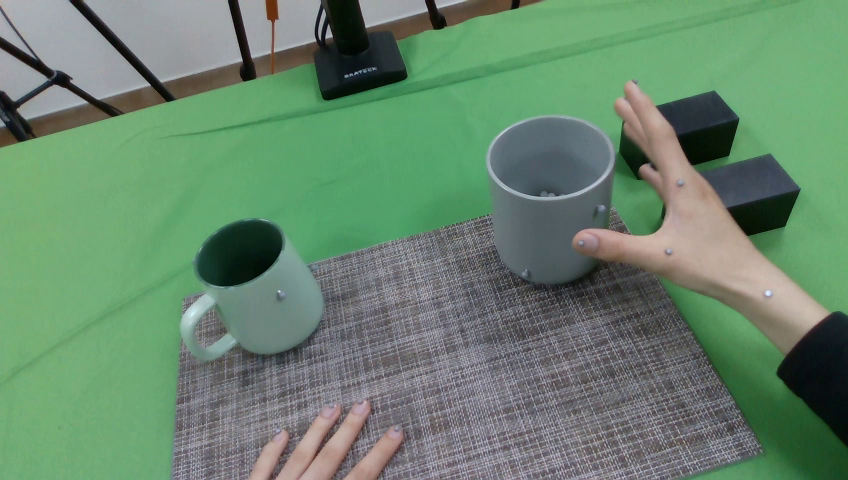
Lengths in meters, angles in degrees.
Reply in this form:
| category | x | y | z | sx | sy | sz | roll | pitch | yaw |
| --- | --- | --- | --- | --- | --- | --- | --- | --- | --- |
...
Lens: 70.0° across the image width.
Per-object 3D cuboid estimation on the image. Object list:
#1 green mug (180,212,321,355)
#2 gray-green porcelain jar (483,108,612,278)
| category | x | y | z | sx | sy | sz | roll | pitch | yaw |
| --- | --- | --- | --- | --- | --- | --- | --- | --- | --- |
| green mug | -0.159 | 0.049 | 0.543 | 0.092 | 0.106 | 0.125 | 28 | 61 | 29 |
| gray-green porcelain jar | 0.111 | -0.036 | 0.544 | 0.106 | 0.128 | 0.105 | -6 | 49 | 7 |
